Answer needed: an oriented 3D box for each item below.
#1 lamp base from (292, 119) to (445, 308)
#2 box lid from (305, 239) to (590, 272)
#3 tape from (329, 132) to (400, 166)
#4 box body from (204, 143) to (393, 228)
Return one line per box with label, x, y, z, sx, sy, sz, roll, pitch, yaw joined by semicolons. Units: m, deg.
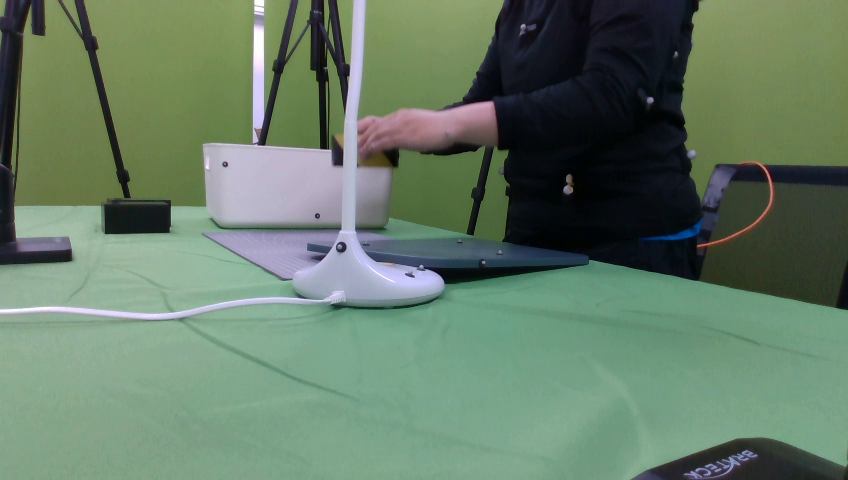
lamp base;-0.056;-0.030;0.616;0.160;0.180;0.179;3;10;8
box lid;0.042;0.019;0.879;0.262;0.015;0.374;7;5;44
tape;-0.096;-0.148;0.981;0.117;0.052;0.117;0;8;0
box body;-0.271;-0.117;1.291;0.366;0.160;0.253;-1;8;-25
